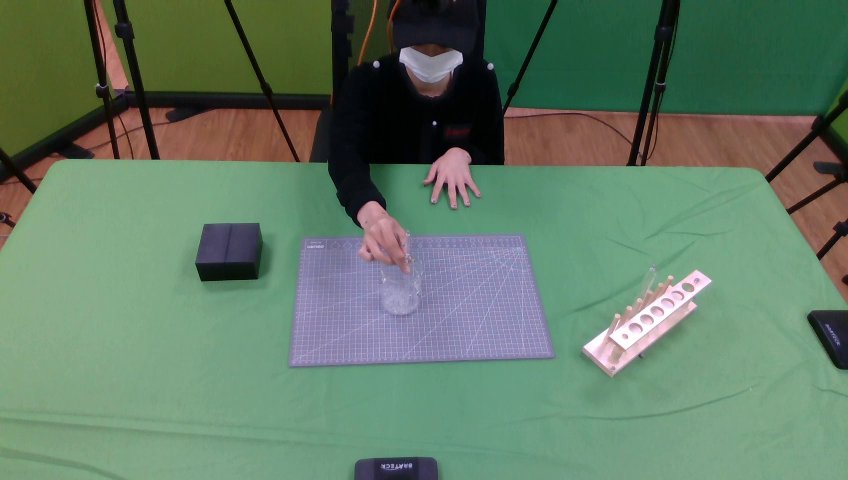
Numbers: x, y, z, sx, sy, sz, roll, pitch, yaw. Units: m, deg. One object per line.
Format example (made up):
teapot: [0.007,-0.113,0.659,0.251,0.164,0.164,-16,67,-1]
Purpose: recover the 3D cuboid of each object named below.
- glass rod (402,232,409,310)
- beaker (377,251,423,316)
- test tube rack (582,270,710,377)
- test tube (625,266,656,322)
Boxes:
glass rod: [-0.032,0.057,1.009,0.008,0.200,0.008,2,47,-2]
beaker: [-0.040,0.081,1.060,0.074,0.101,0.083,-32,57,-30]
test tube rack: [0.389,0.132,1.057,0.242,0.085,0.066,-28,54,-28]
test tube: [0.366,0.096,1.027,0.017,0.151,0.017,1,47,0]
